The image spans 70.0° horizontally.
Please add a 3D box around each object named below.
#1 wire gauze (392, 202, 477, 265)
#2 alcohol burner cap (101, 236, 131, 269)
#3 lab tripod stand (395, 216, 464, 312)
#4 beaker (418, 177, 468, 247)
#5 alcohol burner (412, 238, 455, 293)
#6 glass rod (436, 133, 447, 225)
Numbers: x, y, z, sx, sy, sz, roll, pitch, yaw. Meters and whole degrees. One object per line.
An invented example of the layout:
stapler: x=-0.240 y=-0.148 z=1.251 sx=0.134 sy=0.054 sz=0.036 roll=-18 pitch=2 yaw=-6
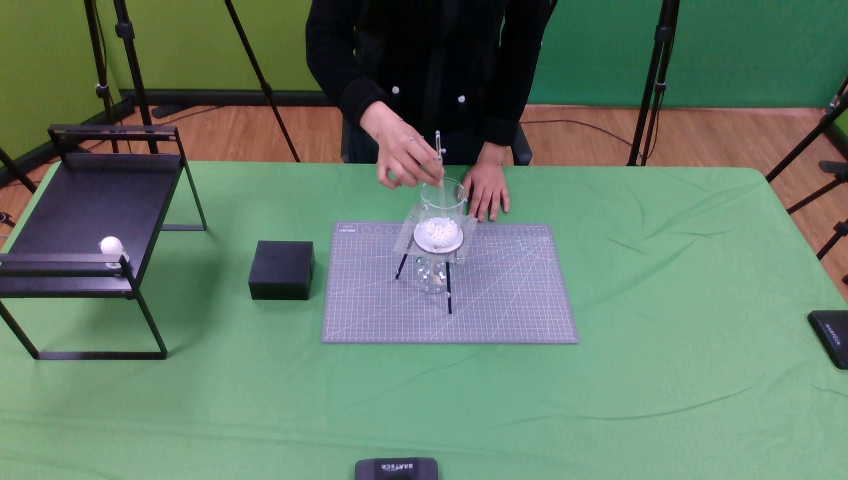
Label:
wire gauze: x=0.021 y=-0.011 z=1.038 sx=0.121 sy=0.011 sz=0.124 roll=13 pitch=49 yaw=9
alcohol burner cap: x=-0.452 y=0.016 z=0.883 sx=0.034 sy=0.048 sz=0.033 roll=2 pitch=47 yaw=-1
lab tripod stand: x=0.023 y=0.037 z=1.084 sx=0.148 sy=0.132 sz=0.147 roll=4 pitch=46 yaw=-4
beaker: x=0.026 y=-0.045 z=1.004 sx=0.074 sy=0.101 sz=0.083 roll=-21 pitch=51 yaw=-23
alcohol burner: x=0.019 y=0.040 z=1.094 sx=0.078 sy=0.119 sz=0.077 roll=3 pitch=45 yaw=-3
glass rod: x=0.029 y=-0.092 z=0.966 sx=0.008 sy=0.201 sz=0.008 roll=-3 pitch=50 yaw=4
